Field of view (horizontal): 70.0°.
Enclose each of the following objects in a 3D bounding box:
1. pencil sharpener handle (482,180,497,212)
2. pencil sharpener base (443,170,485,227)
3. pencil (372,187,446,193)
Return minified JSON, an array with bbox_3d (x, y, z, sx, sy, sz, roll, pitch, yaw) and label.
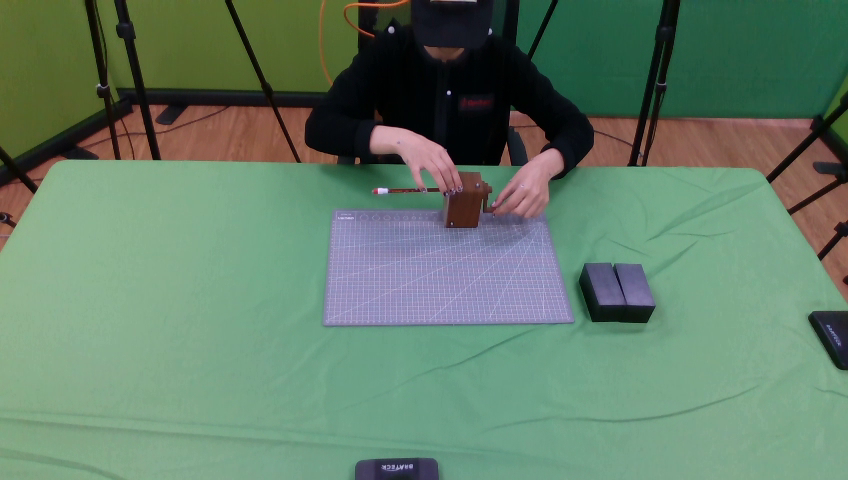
[{"bbox_3d":[0.132,-0.088,1.212,0.031,0.068,0.036,0,27,-4],"label":"pencil sharpener handle"},{"bbox_3d":[0.080,-0.082,1.220,0.077,0.107,0.061,0,46,-5],"label":"pencil sharpener base"},{"bbox_3d":[-0.005,-0.099,1.197,0.194,0.012,0.012,-1,46,-3],"label":"pencil"}]
